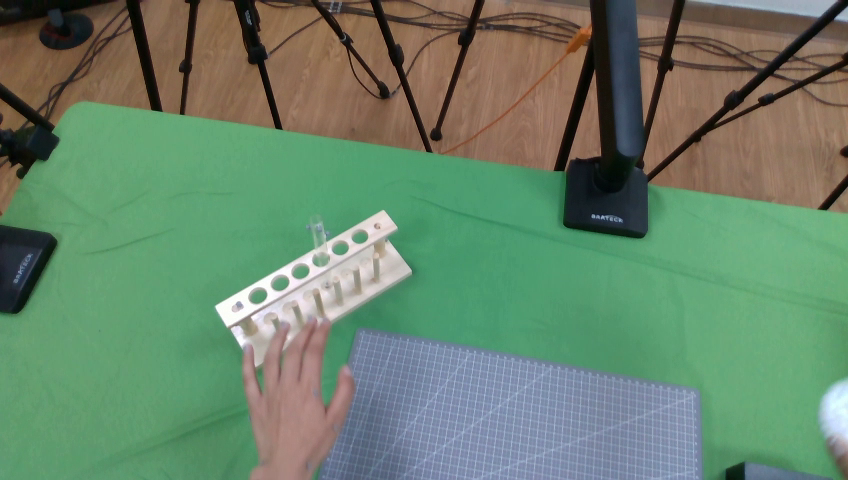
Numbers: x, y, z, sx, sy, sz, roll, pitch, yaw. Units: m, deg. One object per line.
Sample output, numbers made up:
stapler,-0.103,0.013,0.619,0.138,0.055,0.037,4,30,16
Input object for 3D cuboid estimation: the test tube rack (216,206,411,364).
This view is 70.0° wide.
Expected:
test tube rack,-0.135,0.058,0.789,0.242,0.086,0.066,-31,66,-17

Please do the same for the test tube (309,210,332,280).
test tube,-0.128,0.010,0.759,0.017,0.151,0.017,2,58,-2

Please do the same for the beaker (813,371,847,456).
beaker,0.352,0.130,0.454,0.084,0.101,0.073,-41,75,-15
